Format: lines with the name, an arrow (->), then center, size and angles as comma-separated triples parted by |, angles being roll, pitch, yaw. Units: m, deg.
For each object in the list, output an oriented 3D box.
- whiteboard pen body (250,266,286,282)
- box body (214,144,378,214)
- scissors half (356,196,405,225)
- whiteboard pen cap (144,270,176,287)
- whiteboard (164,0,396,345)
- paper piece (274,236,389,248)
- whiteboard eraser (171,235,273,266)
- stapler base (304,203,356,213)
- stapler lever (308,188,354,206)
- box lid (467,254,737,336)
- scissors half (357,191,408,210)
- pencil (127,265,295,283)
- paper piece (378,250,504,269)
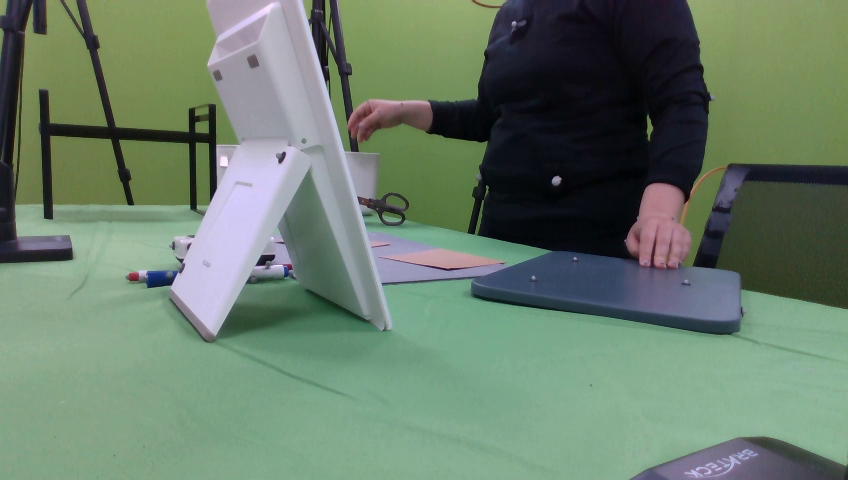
whiteboard pen body -> -0.220, 0.039, 0.656 | 0.141, 0.017, 0.017 | -2, 9, -30
box body -> -0.328, -0.154, 1.543 | 0.366, 0.160, 0.253 | -2, 9, -32
scissors half -> -0.127, -0.072, 1.321 | 0.175, 0.040, 0.013 | 22, 5, -4
whiteboard pen cap -> -0.271, 0.039, 0.627 | 0.033, 0.018, 0.018 | -3, 10, -32
whiteboard -> -0.173, -0.053, 0.511 | 0.144, 0.305, 0.216 | -23, 19, -26
paper piece -> -0.151, 0.003, 0.978 | 0.135, 0.008, 0.139 | 13, 10, 35
whiteboard eraser -> -0.248, 0.014, 0.747 | 0.113, 0.042, 0.055 | -1, 10, -32
stapler base -> -0.235, -0.081, 1.511 | 0.131, 0.024, 0.041 | 1, 9, -35
stapler lever -> -0.231, -0.106, 1.509 | 0.119, 0.040, 0.026 | 2, 9, -35
box lid -> 0.234, 0.055, 0.735 | 0.262, 0.015, 0.373 | 7, 7, 27
scissors half -> -0.123, -0.091, 1.318 | 0.175, 0.040, 0.013 | 5, 11, -3
pencil -> -0.231, 0.037, 0.691 | 0.195, 0.012, 0.012 | -2, 9, -34
paper piece -> 0.025, 0.026, 0.865 | 0.134, 0.004, 0.136 | 9, 9, 43
